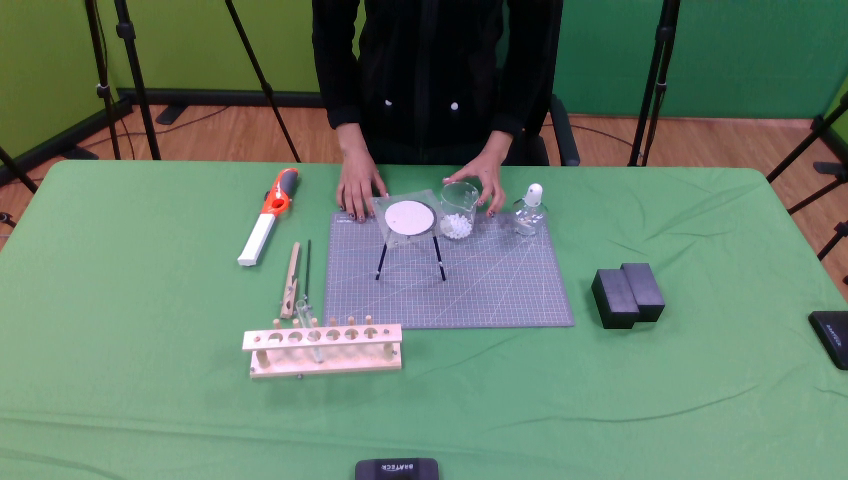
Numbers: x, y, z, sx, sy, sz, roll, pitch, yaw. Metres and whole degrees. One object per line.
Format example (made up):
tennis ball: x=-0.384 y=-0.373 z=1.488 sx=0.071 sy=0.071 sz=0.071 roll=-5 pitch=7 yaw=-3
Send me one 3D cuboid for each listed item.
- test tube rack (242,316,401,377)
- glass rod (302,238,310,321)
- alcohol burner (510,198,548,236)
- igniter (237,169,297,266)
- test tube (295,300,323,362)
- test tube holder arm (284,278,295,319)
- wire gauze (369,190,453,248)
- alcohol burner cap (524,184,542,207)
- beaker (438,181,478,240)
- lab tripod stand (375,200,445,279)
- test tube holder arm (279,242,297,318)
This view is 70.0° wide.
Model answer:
test tube rack: x=-0.161 y=0.166 z=0.983 sx=0.242 sy=0.085 sz=0.066 roll=-2 pitch=46 yaw=-6
glass rod: x=-0.218 y=0.069 z=1.125 sx=0.008 sy=0.008 sz=0.198 roll=-2 pitch=47 yaw=-5
alcohol burner: x=0.214 y=-0.066 z=1.214 sx=0.078 sy=0.119 sz=0.077 roll=2 pitch=48 yaw=-2
igniter: x=-0.313 y=-0.055 z=1.224 sx=0.057 sy=0.025 sz=0.275 roll=1 pitch=45 yaw=10
test tube: x=-0.176 y=0.143 z=0.935 sx=0.017 sy=0.151 sz=0.017 roll=-2 pitch=46 yaw=2
test tube holder arm: x=-0.241 y=0.103 z=1.085 sx=0.010 sy=0.015 sz=0.087 roll=25 pitch=39 yaw=-27
wire gauze: x=-0.025 y=-0.042 z=1.064 sx=0.121 sy=0.011 sz=0.124 roll=-11 pitch=48 yaw=-17
alcohol burner cap: x=0.216 y=-0.090 z=1.186 sx=0.034 sy=0.048 sz=0.033 roll=1 pitch=56 yaw=-1
beaker: x=0.066 y=-0.054 z=1.200 sx=0.074 sy=0.101 sz=0.083 roll=-17 pitch=50 yaw=-19
lab tripod stand: x=-0.023 y=0.003 z=1.113 sx=0.148 sy=0.132 sz=0.147 roll=4 pitch=45 yaw=-3
test tube holder arm: x=-0.248 y=0.069 z=1.114 sx=0.013 sy=0.015 sz=0.177 roll=25 pitch=38 yaw=-27
